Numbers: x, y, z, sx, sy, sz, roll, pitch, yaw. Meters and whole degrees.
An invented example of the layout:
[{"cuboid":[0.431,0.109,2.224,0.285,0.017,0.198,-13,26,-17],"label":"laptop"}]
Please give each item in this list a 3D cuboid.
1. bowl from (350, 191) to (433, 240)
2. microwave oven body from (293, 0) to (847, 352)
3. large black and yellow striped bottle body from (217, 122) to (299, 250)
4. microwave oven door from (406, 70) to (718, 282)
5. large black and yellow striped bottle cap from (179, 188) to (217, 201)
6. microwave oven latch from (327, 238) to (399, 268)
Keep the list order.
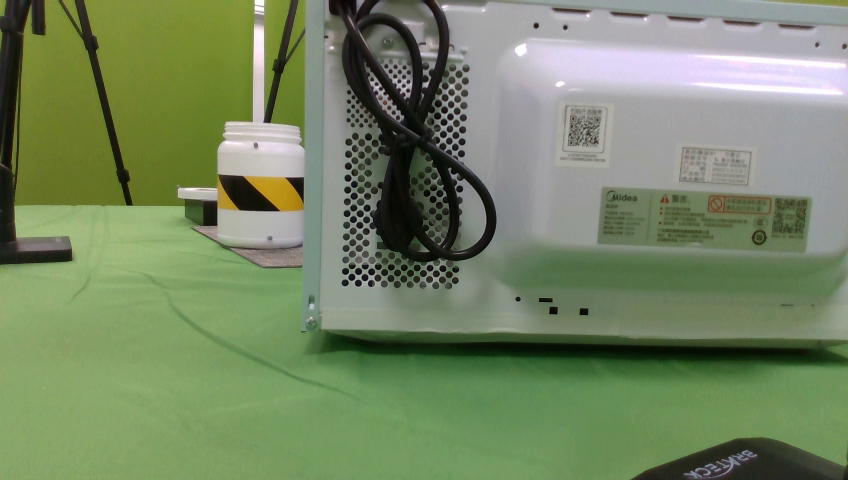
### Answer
[{"cuboid":[-0.059,-0.044,1.091,0.151,0.077,0.151,2,9,0],"label":"bowl"},{"cuboid":[0.122,-0.055,0.550,0.442,0.260,0.325,3,7,-5],"label":"microwave oven body"},{"cuboid":[-0.250,-0.084,0.931,0.131,0.184,0.130,2,7,0],"label":"large black and yellow striped bottle body"},{"cuboid":[0.159,-0.083,0.745,0.355,0.243,0.039,4,8,11],"label":"microwave oven door"},{"cuboid":[-0.434,-0.093,1.226,0.115,0.019,0.115,3,9,0],"label":"large black and yellow striped bottle cap"},{"cuboid":[-0.069,0.015,0.694,0.079,0.029,0.030,3,7,-3],"label":"microwave oven latch"}]
